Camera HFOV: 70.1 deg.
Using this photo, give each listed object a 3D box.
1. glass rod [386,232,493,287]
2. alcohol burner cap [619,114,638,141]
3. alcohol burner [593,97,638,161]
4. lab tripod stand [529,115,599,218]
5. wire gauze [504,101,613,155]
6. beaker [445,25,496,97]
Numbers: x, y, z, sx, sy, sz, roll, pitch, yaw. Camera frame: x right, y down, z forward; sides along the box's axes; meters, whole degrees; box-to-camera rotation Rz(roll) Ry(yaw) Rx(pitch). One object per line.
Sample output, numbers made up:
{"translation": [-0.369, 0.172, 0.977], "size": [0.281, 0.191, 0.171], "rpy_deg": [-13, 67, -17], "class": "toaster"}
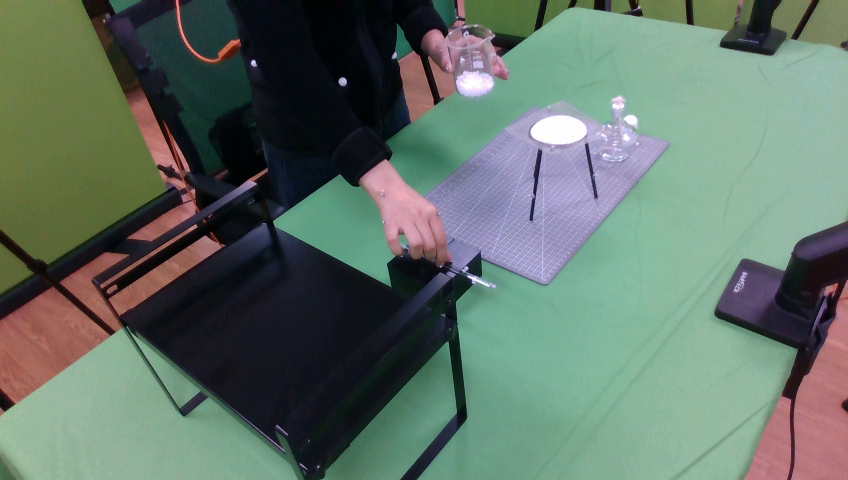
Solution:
{"translation": [0.017, 0.027, 0.877], "size": [0.198, 0.008, 0.008], "rpy_deg": [25, 51, 32], "class": "glass rod"}
{"translation": [0.389, -0.215, 1.145], "size": [0.034, 0.048, 0.033], "rpy_deg": [-4, 40, 4], "class": "alcohol burner cap"}
{"translation": [0.345, -0.203, 1.083], "size": [0.078, 0.119, 0.077], "rpy_deg": [-5, 42, 5], "class": "alcohol burner"}
{"translation": [0.217, -0.123, 0.995], "size": [0.148, 0.132, 0.147], "rpy_deg": [-4, 43, 4], "class": "lab tripod stand"}
{"translation": [0.211, -0.176, 0.955], "size": [0.125, 0.011, 0.120], "rpy_deg": [-24, 44, -18], "class": "wire gauze"}
{"translation": [0.084, -0.301, 1.023], "size": [0.084, 0.101, 0.073], "rpy_deg": [-4, 46, 10], "class": "beaker"}
